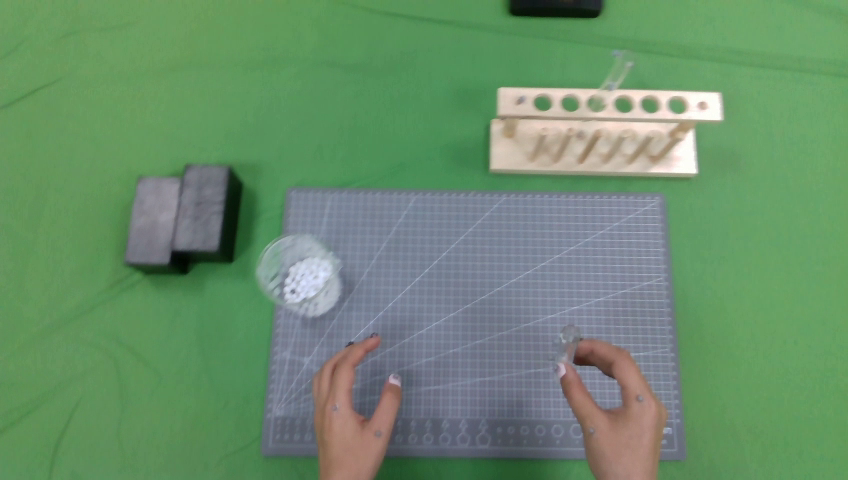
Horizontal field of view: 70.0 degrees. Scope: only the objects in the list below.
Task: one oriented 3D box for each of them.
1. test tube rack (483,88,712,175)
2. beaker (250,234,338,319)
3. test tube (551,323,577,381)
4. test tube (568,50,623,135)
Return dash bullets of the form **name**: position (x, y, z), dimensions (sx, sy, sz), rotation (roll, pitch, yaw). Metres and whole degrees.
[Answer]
- **test tube rack**: position (0.193, -0.123, 0.699), dimensions (0.242, 0.085, 0.066), rotation (1, 74, 1)
- **beaker**: position (-0.130, 0.042, 0.643), dimensions (0.084, 0.101, 0.073), rotation (-7, 74, -2)
- **test tube**: position (0.125, 0.105, 0.549), dimensions (0.017, 0.152, 0.017), rotation (-3, 64, 8)
- **test tube**: position (0.182, -0.154, 0.657), dimensions (0.017, 0.151, 0.017), rotation (1, 71, -2)
